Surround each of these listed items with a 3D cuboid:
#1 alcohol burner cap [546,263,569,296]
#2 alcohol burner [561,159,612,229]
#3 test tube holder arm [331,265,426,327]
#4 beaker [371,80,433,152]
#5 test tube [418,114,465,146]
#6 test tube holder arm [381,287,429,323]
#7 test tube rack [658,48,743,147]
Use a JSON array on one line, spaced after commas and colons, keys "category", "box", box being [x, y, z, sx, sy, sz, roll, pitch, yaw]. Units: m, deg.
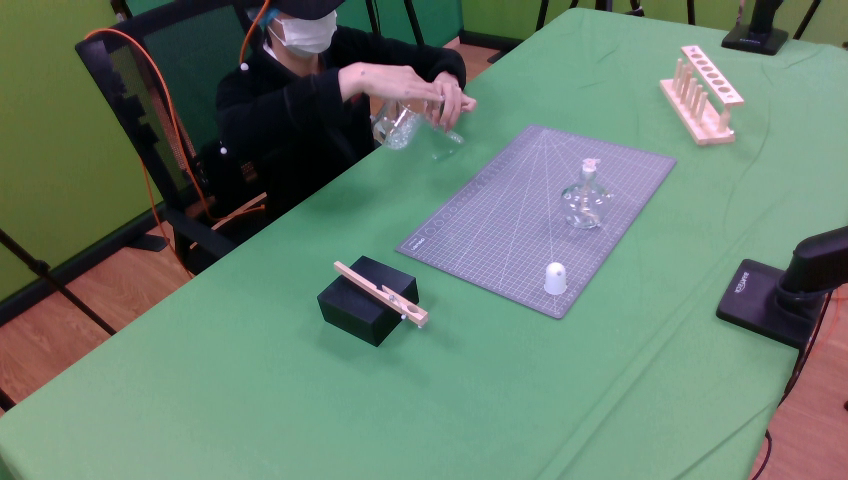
[{"category": "alcohol burner cap", "box": [0.191, 0.053, 0.862, 0.034, 0.048, 0.033, -5, 40, 4]}, {"category": "alcohol burner", "box": [0.257, -0.077, 0.951, 0.078, 0.119, 0.077, -3, 40, 3]}, {"category": "test tube holder arm", "box": [-0.066, 0.074, 0.828, 0.177, 0.015, 0.013, 25, 42, 33]}, {"category": "beaker", "box": [-0.037, -0.201, 1.003, 0.073, 0.084, 0.100, 8, 55, 31]}, {"category": "test tube", "box": [0.035, -0.201, 1.114, 0.017, 0.151, 0.017, -6, 77, 31]}, {"category": "test tube holder arm", "box": [-0.028, 0.087, 0.807, 0.087, 0.015, 0.010, 25, 42, 33]}, {"category": "test tube rack", "box": [0.532, -0.284, 1.181, 0.067, 0.085, 0.241, -5, 40, 4]}]
